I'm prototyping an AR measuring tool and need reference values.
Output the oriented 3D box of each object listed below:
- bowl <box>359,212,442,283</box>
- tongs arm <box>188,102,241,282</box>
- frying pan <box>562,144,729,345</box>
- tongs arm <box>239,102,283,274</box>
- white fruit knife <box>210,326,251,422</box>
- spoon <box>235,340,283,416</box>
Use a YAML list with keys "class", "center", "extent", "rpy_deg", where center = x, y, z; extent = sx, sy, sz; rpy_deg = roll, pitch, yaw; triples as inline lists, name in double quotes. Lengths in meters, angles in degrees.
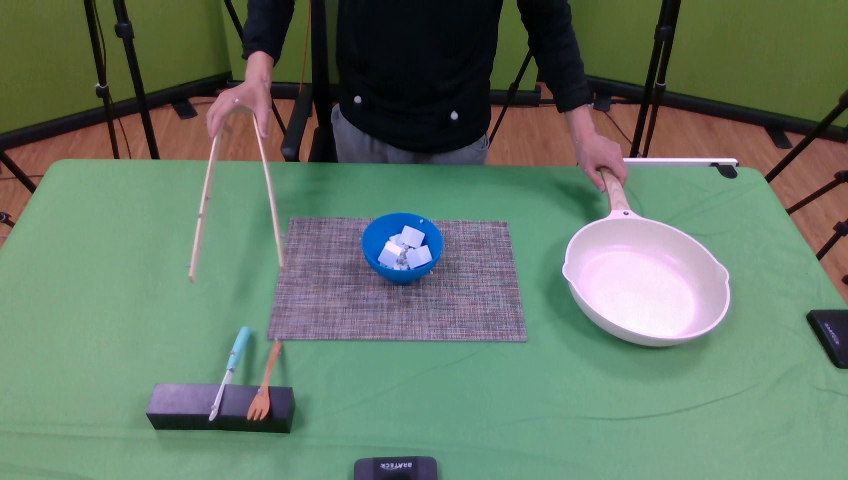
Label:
- class: "bowl"
  center: [-0.044, 0.026, 1.125]
  extent: [0.151, 0.077, 0.150]
  rpy_deg: [2, 46, -2]
- class: "tongs arm"
  center: [-0.366, -0.098, 1.071]
  extent: [0.051, 0.026, 0.382]
  rpy_deg: [-3, 57, -3]
- class: "frying pan"
  center: [0.396, -0.008, 1.179]
  extent: [0.307, 0.103, 0.484]
  rpy_deg: [1, 55, -4]
- class: "tongs arm"
  center: [-0.289, -0.105, 1.080]
  extent: [0.028, 0.028, 0.385]
  rpy_deg: [-15, 59, -7]
- class: "white fruit knife"
  center: [-0.300, 0.201, 0.941]
  extent: [0.016, 0.027, 0.206]
  rpy_deg: [-2, 32, 1]
- class: "spoon"
  center: [-0.244, 0.207, 0.932]
  extent: [0.042, 0.022, 0.193]
  rpy_deg: [28, 25, -8]
